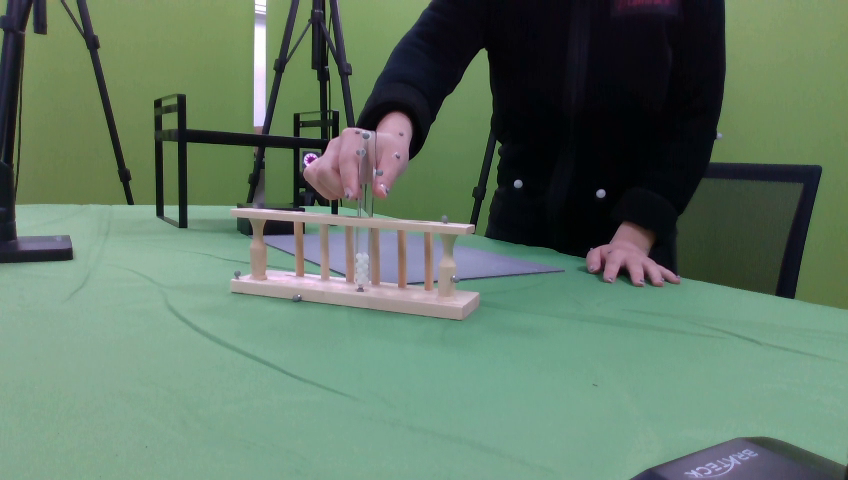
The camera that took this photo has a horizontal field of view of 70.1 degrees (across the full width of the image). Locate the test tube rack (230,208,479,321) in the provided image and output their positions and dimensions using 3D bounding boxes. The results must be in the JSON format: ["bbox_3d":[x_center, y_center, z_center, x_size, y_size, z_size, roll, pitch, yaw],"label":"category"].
[{"bbox_3d":[-0.069,0.017,0.598,0.242,0.085,0.067,5,8,18],"label":"test tube rack"}]

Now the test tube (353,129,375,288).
[{"bbox_3d":[-0.056,-0.028,0.569,0.017,0.150,0.017,3,11,0],"label":"test tube"}]
